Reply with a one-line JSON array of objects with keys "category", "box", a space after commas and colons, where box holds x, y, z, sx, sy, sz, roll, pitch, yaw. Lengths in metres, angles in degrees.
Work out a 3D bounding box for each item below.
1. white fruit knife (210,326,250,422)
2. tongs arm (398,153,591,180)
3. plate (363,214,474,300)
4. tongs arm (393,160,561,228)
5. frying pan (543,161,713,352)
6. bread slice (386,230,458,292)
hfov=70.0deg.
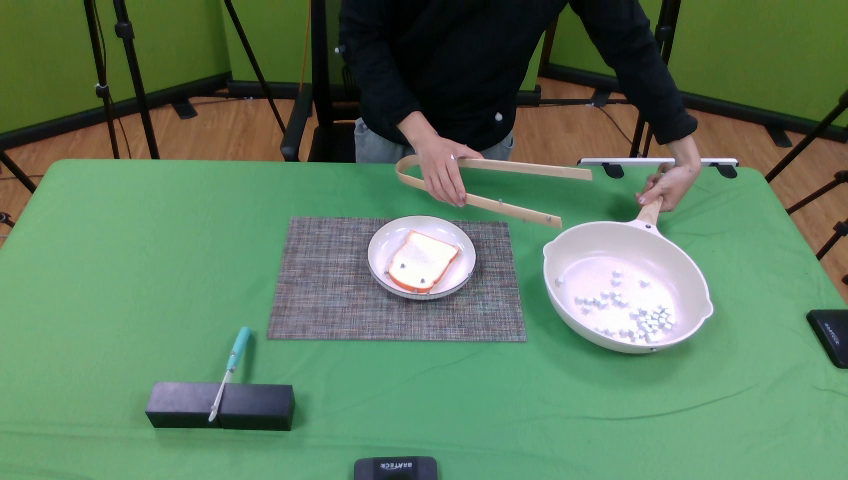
[{"category": "white fruit knife", "box": [-0.301, 0.201, 0.942, 0.016, 0.027, 0.206, 1, 32, -1]}, {"category": "tongs arm", "box": [0.122, -0.138, 1.143, 0.386, 0.028, 0.028, 9, 56, 29]}, {"category": "plate", "box": [-0.010, 0.036, 1.146, 0.208, 0.039, 0.206, 3, 46, -2]}, {"category": "tongs arm", "box": [0.086, -0.090, 1.109, 0.383, 0.027, 0.050, 17, 57, 35]}, {"category": "frying pan", "box": [0.406, 0.012, 1.160, 0.306, 0.103, 0.486, 23, 57, 16]}, {"category": "bread slice", "box": [-0.007, 0.043, 1.142, 0.107, 0.018, 0.134, 18, 46, 14]}]
